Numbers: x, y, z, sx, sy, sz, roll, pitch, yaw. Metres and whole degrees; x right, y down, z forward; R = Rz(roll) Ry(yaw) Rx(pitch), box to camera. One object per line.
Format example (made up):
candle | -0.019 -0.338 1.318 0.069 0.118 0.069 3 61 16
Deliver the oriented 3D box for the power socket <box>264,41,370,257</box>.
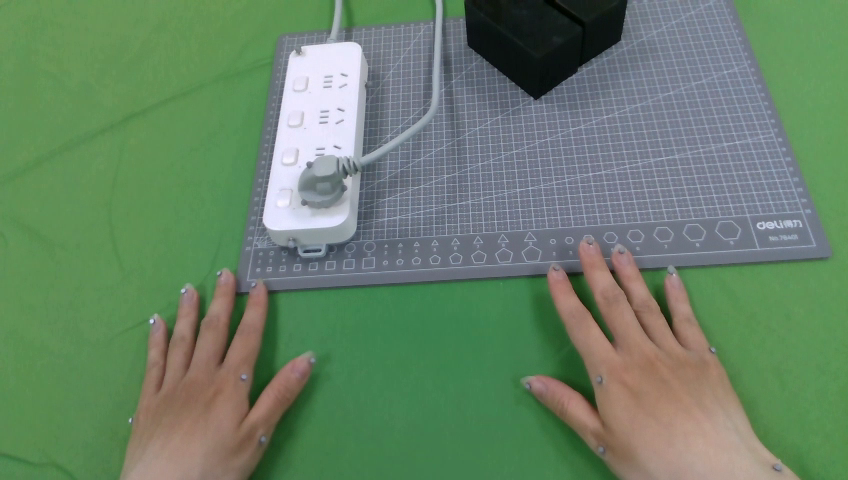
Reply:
power socket | -0.089 -0.091 0.531 0.072 0.033 0.224 -2 59 6

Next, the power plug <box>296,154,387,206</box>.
power plug | -0.064 -0.041 0.470 0.072 0.053 0.035 7 60 11
